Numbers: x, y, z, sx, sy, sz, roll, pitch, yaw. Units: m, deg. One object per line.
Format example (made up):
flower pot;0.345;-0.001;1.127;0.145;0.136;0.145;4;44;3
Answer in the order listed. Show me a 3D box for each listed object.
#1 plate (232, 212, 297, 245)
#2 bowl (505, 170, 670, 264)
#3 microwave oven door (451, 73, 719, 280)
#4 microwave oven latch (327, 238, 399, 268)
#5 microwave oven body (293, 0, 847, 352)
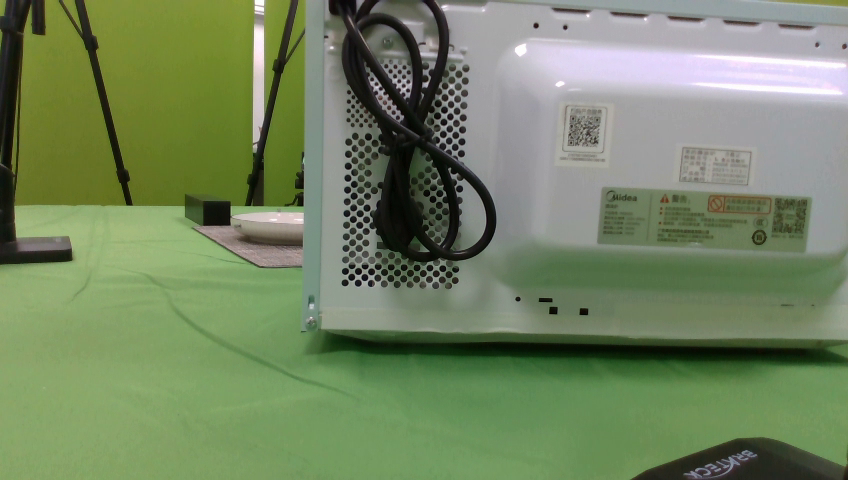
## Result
plate;-0.214;-0.019;1.018;0.208;0.039;0.207;2;7;0
bowl;0.152;-0.023;0.577;0.151;0.077;0.151;1;11;0
microwave oven door;0.194;-0.091;0.815;0.354;0.243;0.039;8;9;38
microwave oven latch;-0.069;0.015;0.694;0.079;0.029;0.030;3;7;-3
microwave oven body;0.122;-0.055;0.550;0.442;0.260;0.325;3;7;-5
